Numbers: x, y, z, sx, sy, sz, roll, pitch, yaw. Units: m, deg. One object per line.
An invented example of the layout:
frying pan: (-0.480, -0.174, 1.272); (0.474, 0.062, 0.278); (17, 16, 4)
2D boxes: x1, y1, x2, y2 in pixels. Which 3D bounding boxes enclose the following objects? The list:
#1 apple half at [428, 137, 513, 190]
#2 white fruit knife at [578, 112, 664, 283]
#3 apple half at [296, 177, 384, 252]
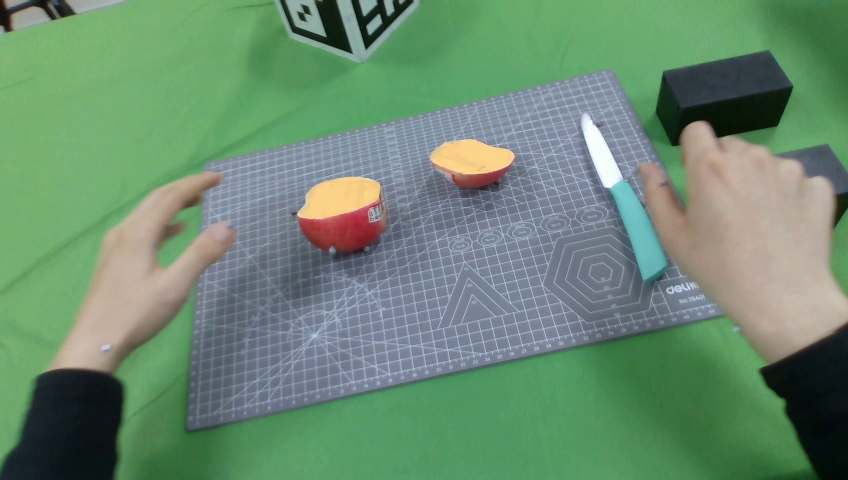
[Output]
apple half: (0.041, -0.065, 0.573); (0.081, 0.033, 0.080); (-2, 36, 2)
white fruit knife: (0.174, -0.049, 0.550); (0.027, 0.016, 0.205); (-4, 53, -8)
apple half: (-0.072, -0.018, 0.551); (0.074, 0.054, 0.080); (-12, 30, 3)
